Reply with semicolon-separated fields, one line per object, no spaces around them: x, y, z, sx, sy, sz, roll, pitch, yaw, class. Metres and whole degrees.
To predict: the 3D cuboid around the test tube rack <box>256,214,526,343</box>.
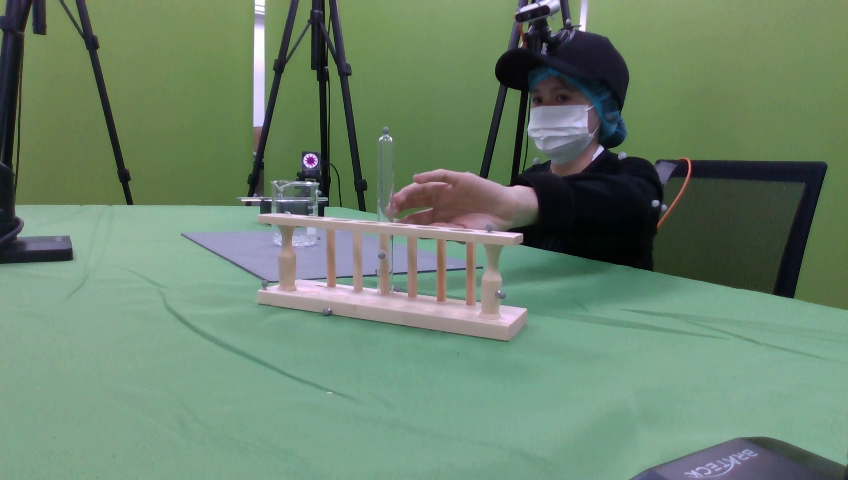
-0.032;0.027;0.547;0.241;0.085;0.067;5;7;22;test tube rack

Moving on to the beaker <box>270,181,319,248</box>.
-0.203;-0.040;0.935;0.074;0.100;0.084;5;8;18;beaker

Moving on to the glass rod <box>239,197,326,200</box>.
-0.288;-0.086;1.250;0.201;0.008;0.008;-4;10;-42;glass rod

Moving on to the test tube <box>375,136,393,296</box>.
-0.038;-0.022;0.565;0.017;0.150;0.017;1;6;0;test tube
